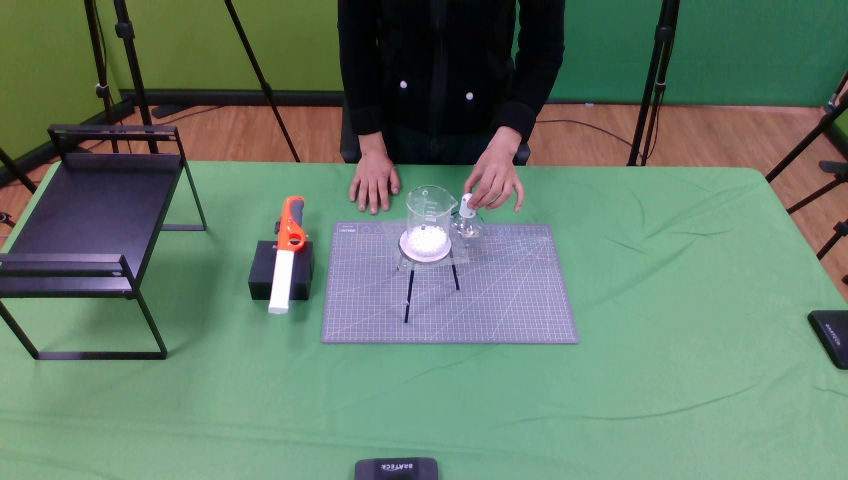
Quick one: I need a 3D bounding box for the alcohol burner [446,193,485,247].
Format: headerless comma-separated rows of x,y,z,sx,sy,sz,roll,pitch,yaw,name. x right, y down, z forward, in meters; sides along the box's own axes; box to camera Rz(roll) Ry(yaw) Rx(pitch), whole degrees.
0.082,-0.043,1.179,0.078,0.120,0.077,2,44,-1,alcohol burner

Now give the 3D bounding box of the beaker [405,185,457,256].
0.009,-0.029,0.988,0.084,0.101,0.073,-1,48,-5,beaker

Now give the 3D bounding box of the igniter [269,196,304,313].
-0.249,0.016,1.095,0.057,0.025,0.274,8,46,-13,igniter

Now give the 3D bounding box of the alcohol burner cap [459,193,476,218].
0.085,-0.068,1.153,0.034,0.048,0.033,0,46,0,alcohol burner cap

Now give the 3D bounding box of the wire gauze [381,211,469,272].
0.000,0.001,1.024,0.125,0.011,0.120,-11,48,-12,wire gauze

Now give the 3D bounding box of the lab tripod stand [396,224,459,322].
-0.003,0.052,1.067,0.148,0.132,0.147,3,47,-3,lab tripod stand
